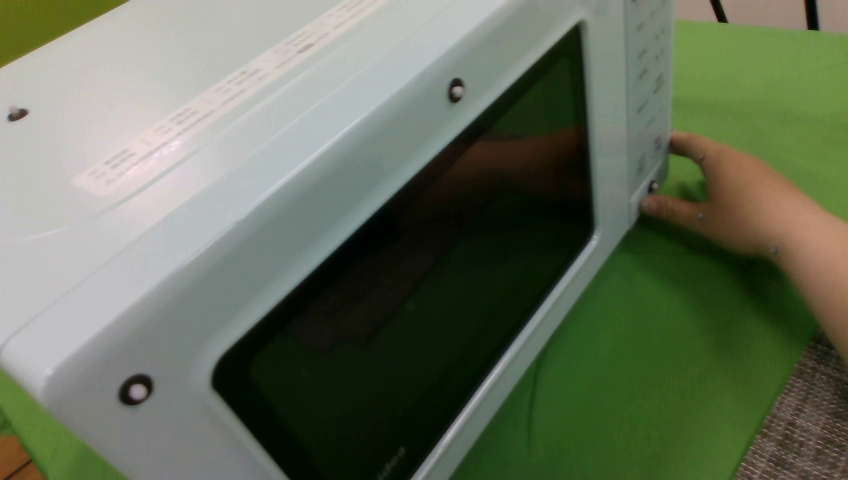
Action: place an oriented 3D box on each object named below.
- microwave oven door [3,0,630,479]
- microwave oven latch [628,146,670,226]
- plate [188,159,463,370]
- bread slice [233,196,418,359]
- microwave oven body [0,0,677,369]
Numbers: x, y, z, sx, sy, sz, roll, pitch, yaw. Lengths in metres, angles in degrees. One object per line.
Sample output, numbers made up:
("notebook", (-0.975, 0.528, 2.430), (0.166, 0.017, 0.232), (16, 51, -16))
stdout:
("microwave oven door", (0.017, 0.015, 0.333), (0.039, 0.246, 0.355), (21, 53, 36))
("microwave oven latch", (0.178, -0.048, 0.505), (0.030, 0.030, 0.079), (22, 55, 36))
("plate", (-0.070, 0.014, 0.454), (0.209, 0.038, 0.207), (-10, 40, 9))
("bread slice", (-0.072, 0.016, 0.460), (0.131, 0.019, 0.104), (-41, 47, -19))
("microwave oven body", (-0.066, -0.049, 0.442), (0.323, 0.263, 0.440), (21, 54, 35))
